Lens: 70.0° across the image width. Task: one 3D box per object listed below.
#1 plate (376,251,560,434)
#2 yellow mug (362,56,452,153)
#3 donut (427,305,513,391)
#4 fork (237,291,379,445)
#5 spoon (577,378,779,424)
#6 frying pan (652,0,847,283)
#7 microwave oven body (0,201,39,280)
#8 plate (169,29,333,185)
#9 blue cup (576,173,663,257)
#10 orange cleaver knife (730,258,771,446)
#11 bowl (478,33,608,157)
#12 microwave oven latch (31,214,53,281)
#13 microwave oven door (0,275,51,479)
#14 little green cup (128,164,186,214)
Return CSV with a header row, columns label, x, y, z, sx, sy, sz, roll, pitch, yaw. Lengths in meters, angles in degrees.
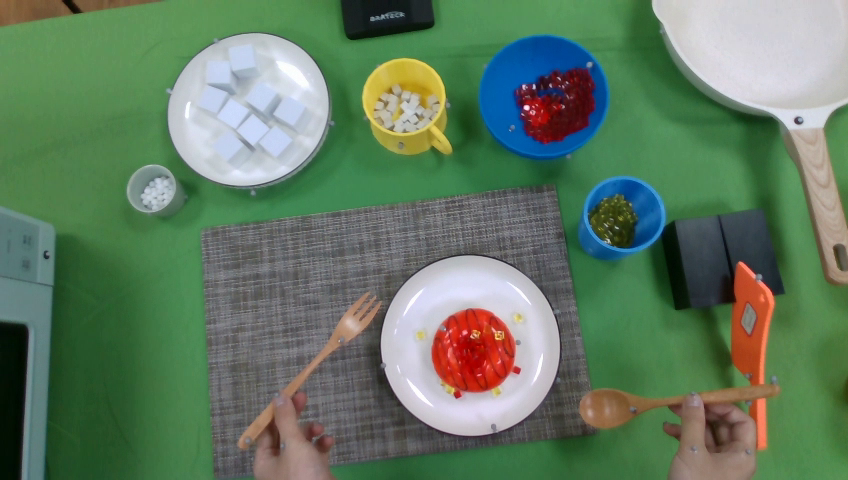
label,x,y,z,sx,sy,sz,roll,pitch,yaw
plate,0.051,0.117,0.706,0.209,0.038,0.208,0,80,3
yellow mug,-0.012,-0.156,0.750,0.100,0.064,0.130,-44,81,-5
donut,0.053,0.123,0.693,0.099,0.048,0.099,0,83,4
fork,-0.119,0.132,0.640,0.028,0.018,0.207,43,62,-1
spoon,0.245,0.156,0.602,0.193,0.022,0.041,-19,64,37
frying pan,0.429,-0.186,0.713,0.307,0.103,0.484,-2,71,4
microwave oven body,-0.616,0.174,0.616,0.326,0.261,0.439,-4,80,2
plate,-0.217,-0.167,0.777,0.207,0.039,0.206,-1,79,3
blue cup,0.215,-0.020,0.695,0.092,0.100,0.092,0,78,2
orange cleaver knife,0.358,0.125,0.670,0.012,0.077,0.212,-8,108,2
bowl,0.140,-0.164,0.738,0.151,0.077,0.151,-1,80,3
microwave oven latch,-0.474,0.009,0.738,0.030,0.029,0.079,-2,80,2
microwave oven door,-0.468,0.204,0.598,0.039,0.245,0.354,-5,79,2
little green cup,-0.333,-0.062,0.761,0.061,0.039,0.061,0,80,2
